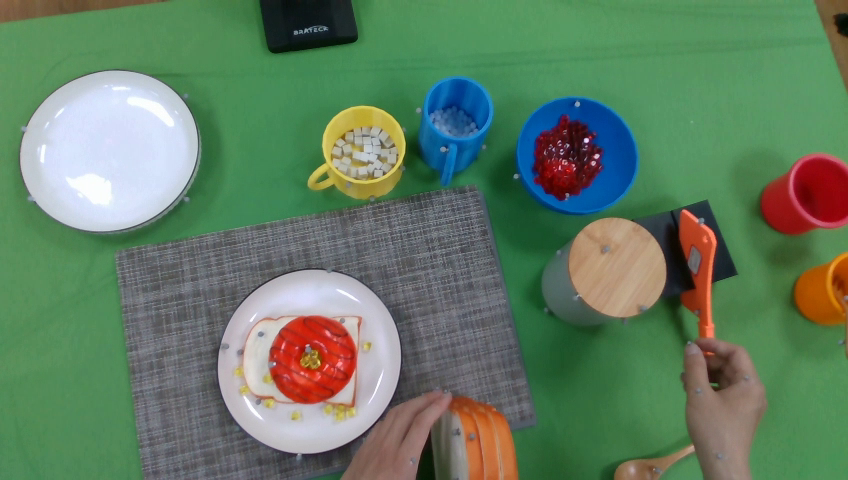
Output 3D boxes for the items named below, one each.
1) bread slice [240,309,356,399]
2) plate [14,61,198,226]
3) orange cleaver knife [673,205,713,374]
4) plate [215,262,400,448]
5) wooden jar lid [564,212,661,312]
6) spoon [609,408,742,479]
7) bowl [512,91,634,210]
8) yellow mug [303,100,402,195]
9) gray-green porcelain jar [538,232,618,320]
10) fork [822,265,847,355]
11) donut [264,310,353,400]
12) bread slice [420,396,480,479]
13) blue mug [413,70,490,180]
[{"bbox_3d":[-0.146,0.131,0.704,0.132,0.019,0.104,2,77,-9],"label":"bread slice"},{"bbox_3d":[-0.378,-0.115,0.735,0.208,0.039,0.206,1,78,-5],"label":"plate"},{"bbox_3d":[0.329,0.062,0.743,0.012,0.076,0.212,-14,109,-7],"label":"orange cleaver knife"},{"bbox_3d":[-0.132,0.130,0.702,0.209,0.038,0.208,1,77,-5],"label":"plate"},{"bbox_3d":[0.201,0.024,0.652,0.108,0.021,0.108,2,80,-8],"label":"wooden jar lid"},{"bbox_3d":[0.308,0.248,0.731,0.194,0.022,0.041,-22,62,-10],"label":"spoon"},{"bbox_3d":[0.179,-0.102,0.767,0.151,0.077,0.150,1,78,-5],"label":"bowl"},{"bbox_3d":[-0.091,-0.105,0.747,0.131,0.064,0.099,-33,82,-10],"label":"yellow mug"},{"bbox_3d":[0.197,0.039,0.713,0.106,0.127,0.105,1,77,-5],"label":"gray-green porcelain jar"},{"bbox_3d":[0.494,0.080,0.721,0.028,0.018,0.207,51,34,0],"label":"fork"},{"bbox_3d":[-0.128,0.127,0.674,0.099,0.048,0.098,2,79,-8],"label":"donut"},{"bbox_3d":[0.027,0.220,0.652,0.018,0.134,0.106,-4,76,-18],"label":"bread slice"},{"bbox_3d":[0.029,-0.131,0.745,0.082,0.106,0.116,9,77,-3],"label":"blue mug"}]
